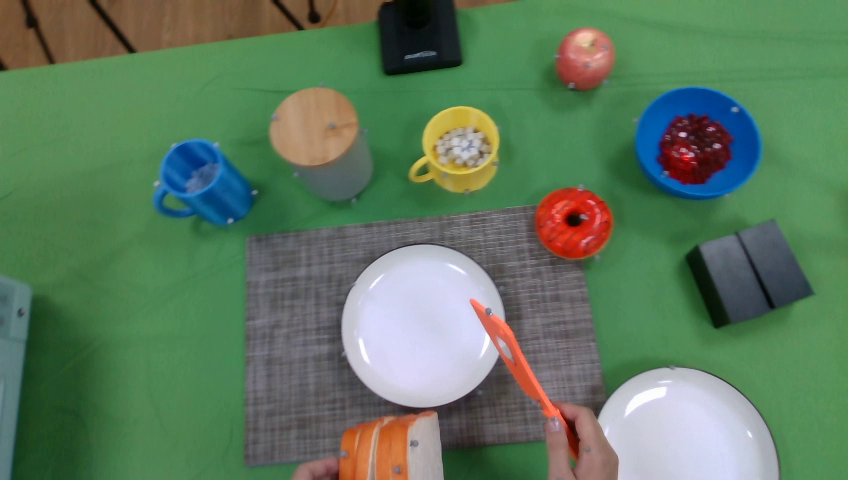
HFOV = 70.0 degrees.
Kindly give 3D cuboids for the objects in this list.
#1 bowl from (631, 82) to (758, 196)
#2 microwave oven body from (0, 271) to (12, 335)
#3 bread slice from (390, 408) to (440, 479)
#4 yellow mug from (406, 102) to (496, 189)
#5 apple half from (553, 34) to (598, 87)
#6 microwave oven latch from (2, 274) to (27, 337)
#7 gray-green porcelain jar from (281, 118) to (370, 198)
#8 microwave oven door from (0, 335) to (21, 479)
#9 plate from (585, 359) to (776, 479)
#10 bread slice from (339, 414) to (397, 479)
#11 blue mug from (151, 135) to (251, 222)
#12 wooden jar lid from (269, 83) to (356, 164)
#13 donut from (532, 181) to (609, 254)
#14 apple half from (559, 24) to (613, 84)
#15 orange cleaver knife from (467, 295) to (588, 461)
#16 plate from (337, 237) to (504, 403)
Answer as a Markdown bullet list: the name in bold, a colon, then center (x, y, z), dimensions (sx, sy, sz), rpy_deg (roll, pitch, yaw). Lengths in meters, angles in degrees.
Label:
- **bowl**: center (0.338, -0.118, 0.784), dimensions (0.151, 0.077, 0.150), rpy_deg (-1, 73, 5)
- **microwave oven body**: center (-0.691, 0.240, 0.664), dimensions (0.326, 0.262, 0.439), rpy_deg (-6, 73, 3)
- **bread slice**: center (-0.007, 0.231, 0.626), dimensions (0.019, 0.132, 0.104), rpy_deg (-9, 76, 13)
- **yellow mug**: center (0.034, -0.120, 0.819), dimensions (0.131, 0.064, 0.099), rpy_deg (-29, 73, -3)
- **apple half**: center (0.200, -0.238, 0.834), dimensions (0.033, 0.082, 0.081), rpy_deg (-37, 73, -12)
- **microwave oven latch**: center (-0.550, 0.087, 0.800), dimensions (0.030, 0.030, 0.078), rpy_deg (-3, 73, 4)
- **gray-green porcelain jar**: center (-0.130, -0.121, 0.802), dimensions (0.106, 0.127, 0.105), rpy_deg (-1, 72, 5)
- **microwave oven door**: center (-0.544, 0.264, 0.638), dimensions (0.039, 0.245, 0.353), rpy_deg (-6, 72, 3)
- **plate**: center (0.289, 0.243, 0.698), dimensions (0.209, 0.038, 0.208), rpy_deg (-1, 73, 5)
- **bread slice**: center (-0.053, 0.238, 0.642), dimensions (0.018, 0.135, 0.106), rpy_deg (-12, 71, 16)
- **blue mug**: center (-0.305, -0.072, 0.812), dimensions (0.116, 0.106, 0.082), rpy_deg (-31, 72, -5)
- **wooden jar lid**: center (-0.136, -0.140, 0.742), dimensions (0.108, 0.021, 0.107), rpy_deg (-2, 71, 5)
- **donut**: center (0.189, -0.029, 0.784), dimensions (0.099, 0.048, 0.098), rpy_deg (-1, 73, 5)
- **apple half**: center (0.230, -0.262, 0.841), dimensions (0.053, 0.075, 0.080), rpy_deg (-36, 69, -12)
- **orange cleaver knife**: center (0.106, 0.142, 0.621), dimensions (0.012, 0.076, 0.213), rpy_deg (-37, 110, -13)
- **plate**: center (-0.004, 0.100, 0.765), dimensions (0.207, 0.039, 0.206), rpy_deg (-1, 73, 5)
